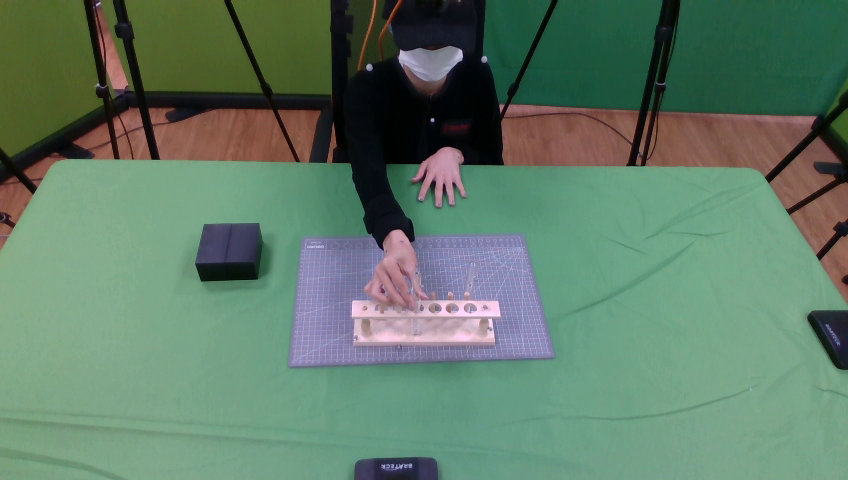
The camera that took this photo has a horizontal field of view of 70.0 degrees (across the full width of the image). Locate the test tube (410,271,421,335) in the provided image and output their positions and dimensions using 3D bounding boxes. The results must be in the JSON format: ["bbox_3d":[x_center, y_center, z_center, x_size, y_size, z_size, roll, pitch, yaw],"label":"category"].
[{"bbox_3d":[-0.015,0.104,0.973,0.017,0.151,0.017,1,45,-1],"label":"test tube"}]

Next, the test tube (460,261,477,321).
[{"bbox_3d":[0.073,0.087,1.010,0.017,0.151,0.017,2,47,-2],"label":"test tube"}]

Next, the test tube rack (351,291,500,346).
[{"bbox_3d":[0.000,0.129,1.026,0.242,0.085,0.066,1,46,-4],"label":"test tube rack"}]
